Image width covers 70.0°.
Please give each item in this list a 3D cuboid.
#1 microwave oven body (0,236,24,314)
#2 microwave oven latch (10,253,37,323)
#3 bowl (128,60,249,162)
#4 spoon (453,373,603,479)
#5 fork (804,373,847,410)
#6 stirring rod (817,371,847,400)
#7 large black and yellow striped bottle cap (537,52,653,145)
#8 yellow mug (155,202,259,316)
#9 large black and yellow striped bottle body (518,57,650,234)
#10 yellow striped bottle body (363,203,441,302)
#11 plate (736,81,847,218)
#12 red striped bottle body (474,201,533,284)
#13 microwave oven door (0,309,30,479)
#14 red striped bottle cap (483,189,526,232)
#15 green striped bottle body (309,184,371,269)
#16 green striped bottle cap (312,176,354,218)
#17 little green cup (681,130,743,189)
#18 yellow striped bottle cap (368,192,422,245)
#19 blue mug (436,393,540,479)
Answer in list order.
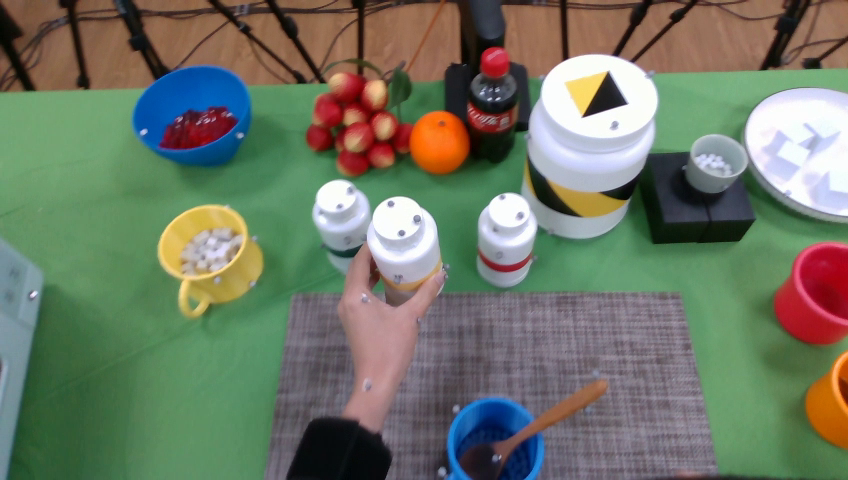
[{"bbox_3d":[-0.593,0.180,0.517,0.326,0.262,0.437,-9,60,-2],"label":"microwave oven body"},{"bbox_3d":[-0.468,0.056,0.694,0.030,0.030,0.078,-7,60,-1],"label":"microwave oven latch"},{"bbox_3d":[-0.299,-0.157,0.807,0.151,0.077,0.150,-1,60,2],"label":"bowl"},{"bbox_3d":[0.084,0.167,0.528,0.022,0.194,0.041,5,51,-36],"label":"spoon"},{"bbox_3d":[0.443,0.163,0.539,0.028,0.019,0.206,-37,20,-15],"label":"fork"},{"bbox_3d":[0.413,0.163,0.549,0.014,0.006,0.175,2,17,1],"label":"stirring rod"},{"bbox_3d":[0.173,-0.146,0.616,0.115,0.019,0.114,-2,59,3],"label":"large black and yellow striped bottle cap"},{"bbox_3d":[-0.256,0.026,0.705,0.100,0.064,0.130,8,61,8],"label":"yellow mug"},{"bbox_3d":[0.178,-0.105,0.689,0.131,0.185,0.129,-1,60,3],"label":"large black and yellow striped bottle body"},{"bbox_3d":[-0.019,0.007,0.559,0.063,0.121,0.062,-2,61,5],"label":"yellow striped bottle body"},{"bbox_3d":[0.497,-0.112,0.760,0.209,0.038,0.207,-1,60,2],"label":"plate"},{"bbox_3d":[0.087,-0.004,0.673,0.063,0.121,0.062,-3,58,5],"label":"red striped bottle body"},{"bbox_3d":[-0.443,0.191,0.497,0.039,0.246,0.352,-9,60,-1],"label":"microwave oven door"},{"bbox_3d":[0.084,-0.031,0.628,0.044,0.018,0.044,0,58,0],"label":"red striped bottle cap"},{"bbox_3d":[-0.094,-0.020,0.692,0.063,0.120,0.062,-1,60,2],"label":"green striped bottle body"},{"bbox_3d":[-0.098,-0.047,0.647,0.044,0.020,0.044,-1,59,2],"label":"green striped bottle cap"},{"bbox_3d":[0.329,-0.091,0.698,0.061,0.039,0.061,0,58,1],"label":"little green cup"},{"bbox_3d":[-0.025,-0.019,0.514,0.044,0.019,0.044,-2,61,4],"label":"yellow striped bottle cap"},{"bbox_3d":[0.047,0.206,0.557,0.116,0.107,0.081,-34,63,-15],"label":"blue mug"}]
